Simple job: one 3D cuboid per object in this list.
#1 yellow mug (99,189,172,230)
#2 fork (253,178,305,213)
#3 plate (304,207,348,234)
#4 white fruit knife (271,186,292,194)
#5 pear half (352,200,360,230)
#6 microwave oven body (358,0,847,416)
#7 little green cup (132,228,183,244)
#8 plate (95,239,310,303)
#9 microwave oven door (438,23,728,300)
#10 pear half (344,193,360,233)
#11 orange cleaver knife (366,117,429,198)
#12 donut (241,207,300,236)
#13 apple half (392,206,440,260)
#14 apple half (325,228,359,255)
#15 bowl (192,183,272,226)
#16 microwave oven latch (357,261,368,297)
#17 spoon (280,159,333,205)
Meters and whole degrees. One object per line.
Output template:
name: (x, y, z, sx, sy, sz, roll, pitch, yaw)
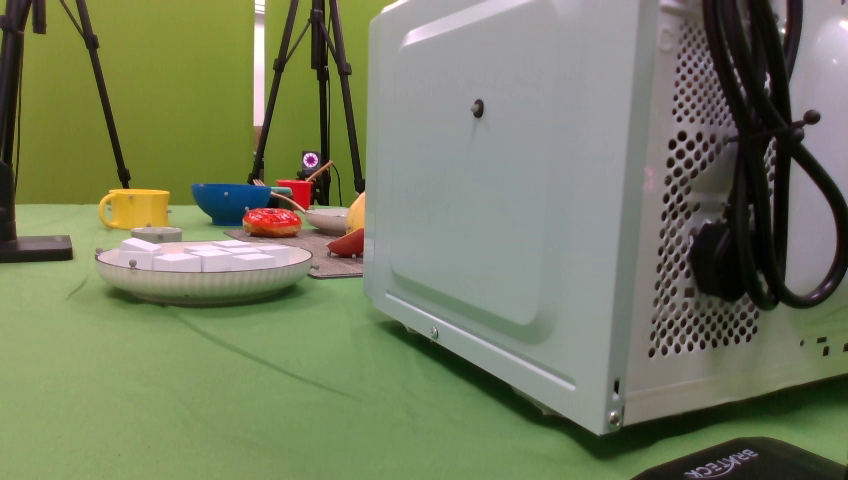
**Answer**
yellow mug: (-0.518, -0.055, 1.080, 0.099, 0.064, 0.131, 6, 9, 26)
fork: (-0.294, -0.084, 1.293, 0.206, 0.018, 0.028, 29, 11, 26)
plate: (-0.123, -0.037, 1.149, 0.209, 0.038, 0.209, 2, 7, 0)
white fruit knife: (-0.399, -0.111, 1.368, 0.208, 0.016, 0.027, -4, -19, -29)
pear half: (-0.071, -0.040, 0.915, 0.056, 0.110, 0.076, 4, 12, 17)
microwave oven body: (0.211, -0.047, 0.474, 0.444, 0.260, 0.324, -1, 7, -28)
little green cup: (-0.342, 0.006, 0.779, 0.061, 0.038, 0.061, 2, 8, 0)
plate: (-0.224, 0.031, 0.629, 0.208, 0.039, 0.207, 2, 7, 0)
microwave oven door: (0.181, -0.072, 0.621, 0.358, 0.243, 0.039, -2, 8, -29)
pear half: (-0.104, -0.033, 0.929, 0.031, 0.088, 0.070, 5, 13, 17)
orange cleaver knife: (-0.036, -0.103, 0.891, 0.012, 0.077, 0.212, 1, -20, 21)
donut: (-0.263, -0.031, 1.039, 0.099, 0.048, 0.099, 4, 10, 0)
apple half: (-0.006, -0.009, 0.836, 0.053, 0.074, 0.081, 10, 4, 18)
apple half: (-0.094, 0.003, 0.848, 0.081, 0.033, 0.081, -20, 0, 0)
bowl: (-0.381, -0.071, 1.202, 0.151, 0.077, 0.151, 3, 7, 0)
microwave oven latch: (-0.019, 0.033, 0.531, 0.079, 0.029, 0.030, -1, 7, -27)
spoon: (-0.316, -0.159, 1.639, 0.194, 0.022, 0.041, -49, 32, -20)
